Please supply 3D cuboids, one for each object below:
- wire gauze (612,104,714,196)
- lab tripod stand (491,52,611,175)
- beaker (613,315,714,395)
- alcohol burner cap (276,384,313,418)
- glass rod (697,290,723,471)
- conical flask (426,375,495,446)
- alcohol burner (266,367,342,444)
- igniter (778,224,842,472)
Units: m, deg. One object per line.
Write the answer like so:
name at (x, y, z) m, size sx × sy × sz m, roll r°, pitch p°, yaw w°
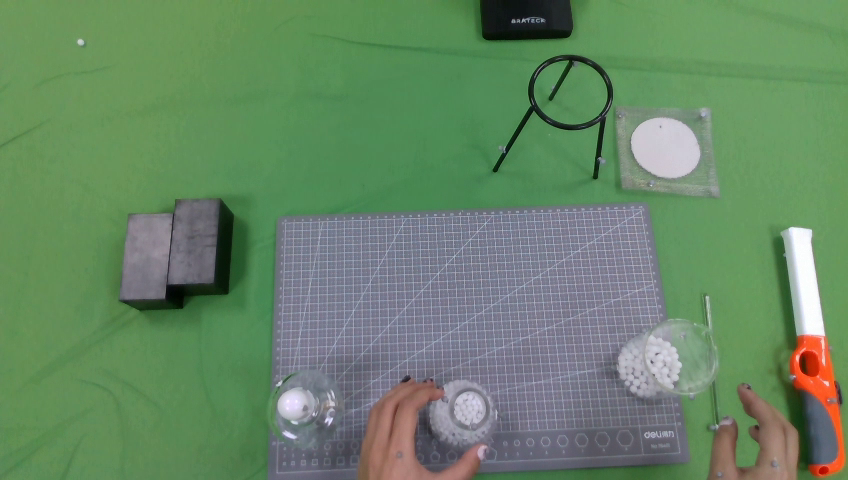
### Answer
wire gauze at (0.301, -0.117, 0.762) m, size 0.125 × 0.011 × 0.121 m, roll 4°, pitch 73°, yaw -1°
lab tripod stand at (0.150, -0.138, 0.701) m, size 0.148 × 0.132 × 0.147 m, roll 0°, pitch 74°, yaw 0°
beaker at (0.247, 0.123, 0.634) m, size 0.084 × 0.101 × 0.073 m, roll -38°, pitch 77°, yaw -12°
alcohol burner cap at (-0.124, 0.152, 0.575) m, size 0.034 × 0.048 × 0.033 m, roll 1°, pitch 76°, yaw -4°
glass rod at (0.320, 0.153, 0.677) m, size 0.008 × 0.008 × 0.198 m, roll 2°, pitch 72°, yaw 0°
conical flask at (0.039, 0.168, 0.605) m, size 0.075 × 0.122 × 0.075 m, roll 0°, pitch 72°, yaw 0°
alcohol burner at (-0.124, 0.164, 0.609) m, size 0.078 × 0.120 × 0.077 m, roll 0°, pitch 71°, yaw 2°
igniter at (0.431, 0.115, 0.680) m, size 0.057 × 0.025 × 0.275 m, roll 6°, pitch 72°, yaw -10°
